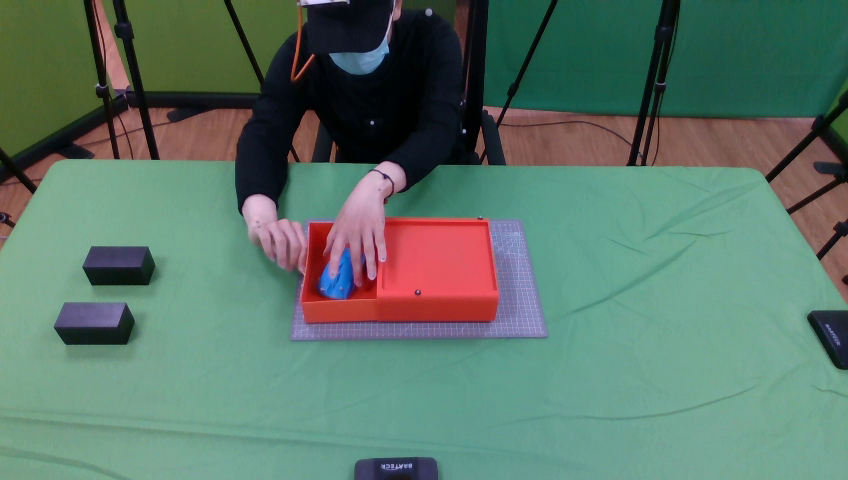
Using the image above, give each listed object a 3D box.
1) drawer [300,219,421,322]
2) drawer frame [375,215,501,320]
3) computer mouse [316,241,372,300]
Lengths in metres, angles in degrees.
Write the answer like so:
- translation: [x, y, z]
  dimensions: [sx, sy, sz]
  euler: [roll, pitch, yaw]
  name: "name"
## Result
- translation: [-0.109, 0.050, 1.095]
  dimensions: [0.212, 0.073, 0.193]
  euler: [-1, 46, -3]
  name: "drawer"
- translation: [0.020, 0.048, 1.101]
  dimensions: [0.214, 0.083, 0.200]
  euler: [0, 46, -3]
  name: "drawer frame"
- translation: [-0.145, 0.052, 1.106]
  dimensions: [0.062, 0.041, 0.117]
  euler: [22, 60, 12]
  name: "computer mouse"
